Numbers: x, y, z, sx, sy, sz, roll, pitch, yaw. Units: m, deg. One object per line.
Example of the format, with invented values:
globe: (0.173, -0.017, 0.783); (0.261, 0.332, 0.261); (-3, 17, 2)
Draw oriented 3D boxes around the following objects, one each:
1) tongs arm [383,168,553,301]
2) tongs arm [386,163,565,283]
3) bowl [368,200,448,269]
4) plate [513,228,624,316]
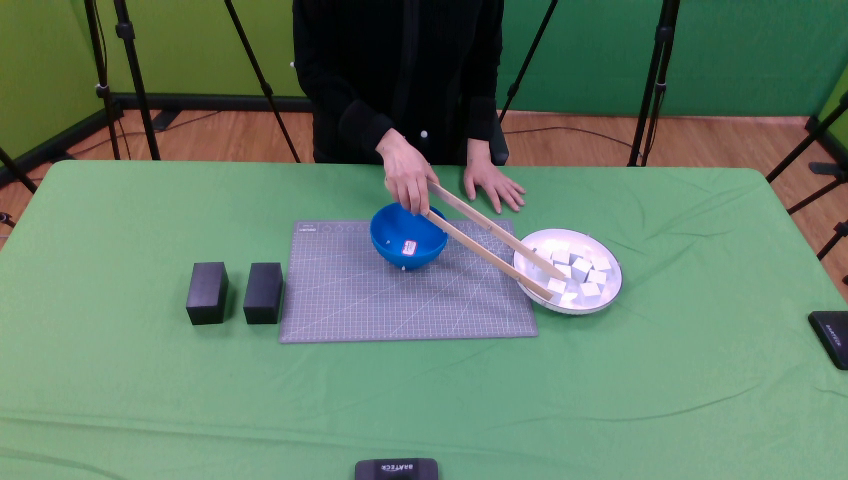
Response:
tongs arm: (0.071, -0.010, 1.106); (0.386, 0.028, 0.028); (36, 58, 11)
tongs arm: (0.090, -0.031, 1.127); (0.384, 0.026, 0.050); (37, 54, 11)
bowl: (-0.030, 0.002, 1.151); (0.151, 0.077, 0.150); (2, 46, -2)
plate: (0.268, 0.063, 1.146); (0.208, 0.039, 0.206); (3, 46, -3)
